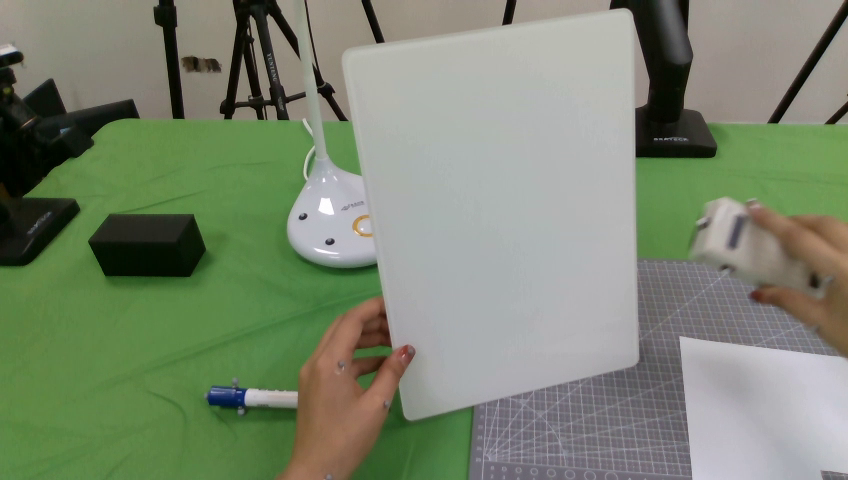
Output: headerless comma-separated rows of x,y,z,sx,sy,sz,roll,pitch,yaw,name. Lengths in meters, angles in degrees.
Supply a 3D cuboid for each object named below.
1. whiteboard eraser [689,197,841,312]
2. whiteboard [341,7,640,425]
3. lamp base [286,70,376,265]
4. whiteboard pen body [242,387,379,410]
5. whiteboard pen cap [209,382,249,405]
0.277,0.012,0.499,0.113,0.042,0.055,25,73,0,whiteboard eraser
0.056,-0.028,0.538,0.217,0.307,0.142,-11,20,-8,whiteboard
-0.096,-0.090,0.682,0.161,0.182,0.177,-30,43,-29,lamp base
-0.109,0.137,0.525,0.141,0.017,0.017,2,39,2,whiteboard pen body
-0.168,0.134,0.528,0.033,0.018,0.018,4,39,0,whiteboard pen cap
